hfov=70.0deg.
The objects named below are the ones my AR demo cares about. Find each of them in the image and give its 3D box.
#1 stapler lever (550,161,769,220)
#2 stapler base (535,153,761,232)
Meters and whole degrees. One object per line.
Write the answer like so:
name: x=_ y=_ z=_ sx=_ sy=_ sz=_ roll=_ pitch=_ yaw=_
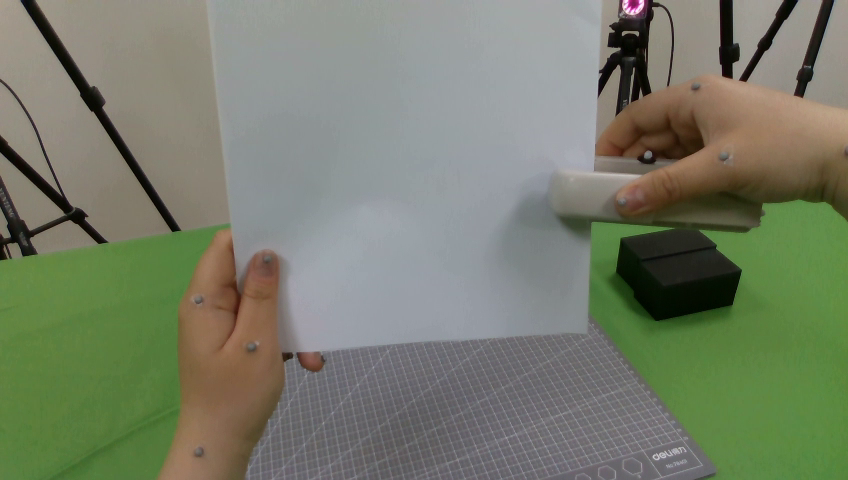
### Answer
stapler lever: x=0.131 y=-0.028 z=0.339 sx=0.118 sy=0.027 sz=0.040 roll=5 pitch=8 yaw=12
stapler base: x=0.132 y=-0.028 z=0.358 sx=0.130 sy=0.041 sz=0.024 roll=4 pitch=8 yaw=5
